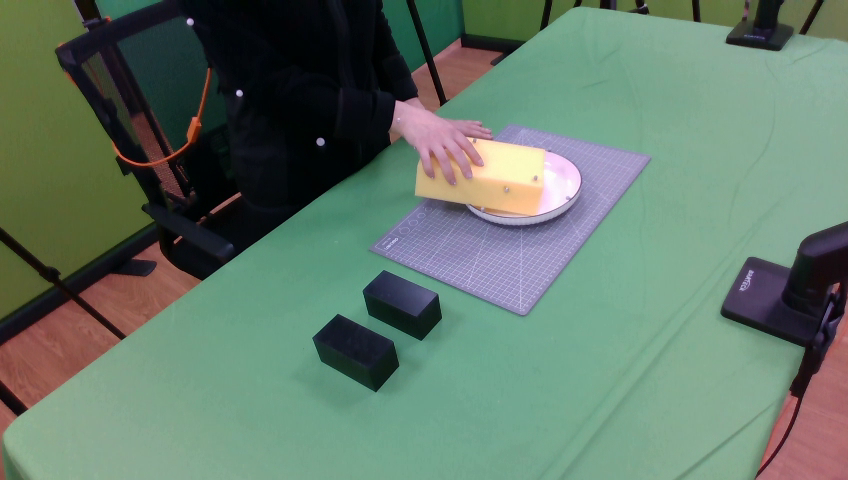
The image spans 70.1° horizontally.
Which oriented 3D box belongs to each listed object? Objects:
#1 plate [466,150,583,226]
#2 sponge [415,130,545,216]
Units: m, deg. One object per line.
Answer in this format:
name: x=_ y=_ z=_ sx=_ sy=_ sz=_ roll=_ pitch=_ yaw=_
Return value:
plate: x=0.167 y=-0.089 z=1.043 sx=0.209 sy=0.038 sz=0.208 roll=-5 pitch=40 yaw=5
sponge: x=0.097 y=-0.115 z=1.023 sx=0.207 sy=0.061 sz=0.118 roll=10 pitch=41 yaw=2
